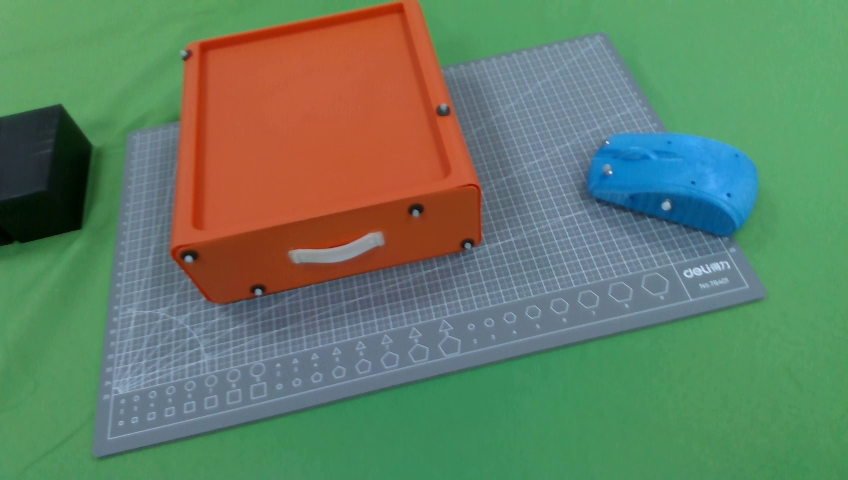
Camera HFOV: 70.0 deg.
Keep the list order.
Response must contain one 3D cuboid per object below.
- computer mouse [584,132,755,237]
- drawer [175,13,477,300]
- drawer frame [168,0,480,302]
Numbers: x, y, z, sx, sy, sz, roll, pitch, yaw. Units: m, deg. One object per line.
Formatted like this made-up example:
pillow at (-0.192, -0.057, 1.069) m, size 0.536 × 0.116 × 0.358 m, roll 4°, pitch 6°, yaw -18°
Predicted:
computer mouse at (0.180, -0.047, 0.446) m, size 0.116 × 0.041 × 0.062 m, roll 18°, pitch 61°, yaw 23°
drawer at (-0.078, -0.073, 0.465) m, size 0.194 × 0.074 × 0.209 m, roll -13°, pitch 55°, yaw -2°
drawer frame at (-0.079, -0.075, 0.465) m, size 0.202 × 0.083 × 0.211 m, roll -13°, pitch 54°, yaw -2°
